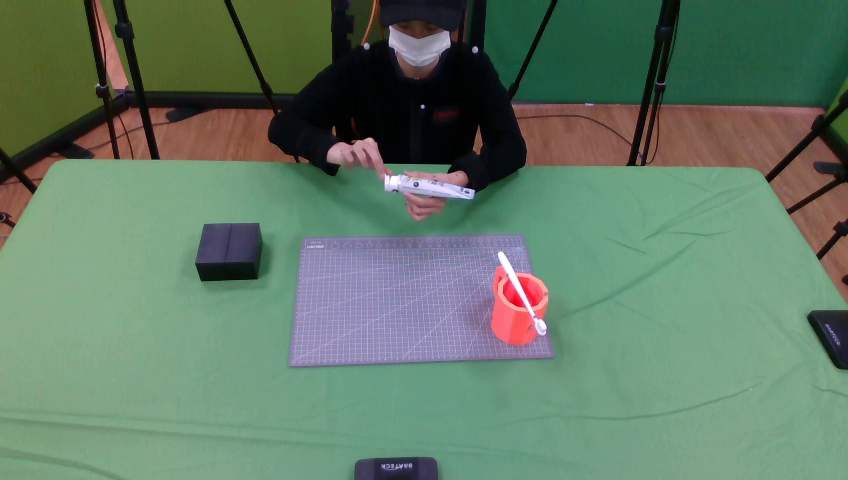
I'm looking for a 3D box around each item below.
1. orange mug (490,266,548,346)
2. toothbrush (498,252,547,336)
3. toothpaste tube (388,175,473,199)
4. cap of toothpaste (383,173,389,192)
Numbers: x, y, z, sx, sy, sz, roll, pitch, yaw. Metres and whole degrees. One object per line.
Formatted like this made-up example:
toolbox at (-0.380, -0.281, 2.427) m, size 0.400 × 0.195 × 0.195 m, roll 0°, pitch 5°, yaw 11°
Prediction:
orange mug at (0.155, 0.107, 1.051) m, size 0.083 × 0.101 × 0.125 m, roll -15°, pitch 53°, yaw -18°
toothbrush at (0.160, 0.083, 1.001) m, size 0.014 × 0.017 × 0.180 m, roll -14°, pitch 48°, yaw -12°
toothpaste tube at (0.009, -0.097, 1.133) m, size 0.165 × 0.034 × 0.055 m, roll 7°, pitch 27°, yaw 5°
cap of toothpaste at (-0.071, -0.108, 1.141) m, size 0.011 × 0.037 × 0.037 m, roll -2°, pitch 46°, yaw -3°
